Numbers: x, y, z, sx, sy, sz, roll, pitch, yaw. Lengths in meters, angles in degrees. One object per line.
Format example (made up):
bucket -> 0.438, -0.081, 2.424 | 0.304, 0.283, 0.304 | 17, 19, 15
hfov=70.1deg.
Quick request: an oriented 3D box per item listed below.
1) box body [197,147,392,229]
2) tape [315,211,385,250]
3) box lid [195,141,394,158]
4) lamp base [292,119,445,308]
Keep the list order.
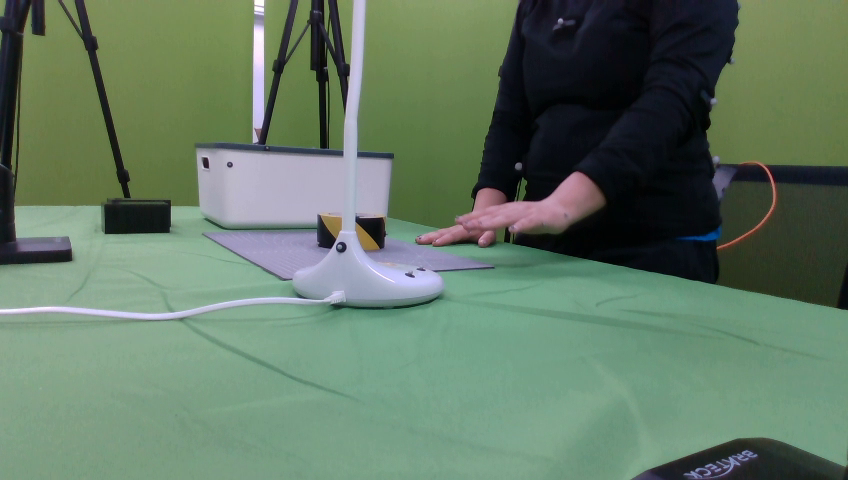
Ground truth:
box body -> -0.278, -0.117, 1.291 | 0.366, 0.160, 0.253 | -2, 8, -30
tape -> -0.119, -0.017, 0.973 | 0.117, 0.052, 0.117 | 2, 7, 0
box lid -> -0.277, -0.190, 1.282 | 0.373, 0.015, 0.262 | -1, 8, -30
lamp base -> -0.056, -0.030, 0.616 | 0.160, 0.180, 0.179 | 3, 10, 8
